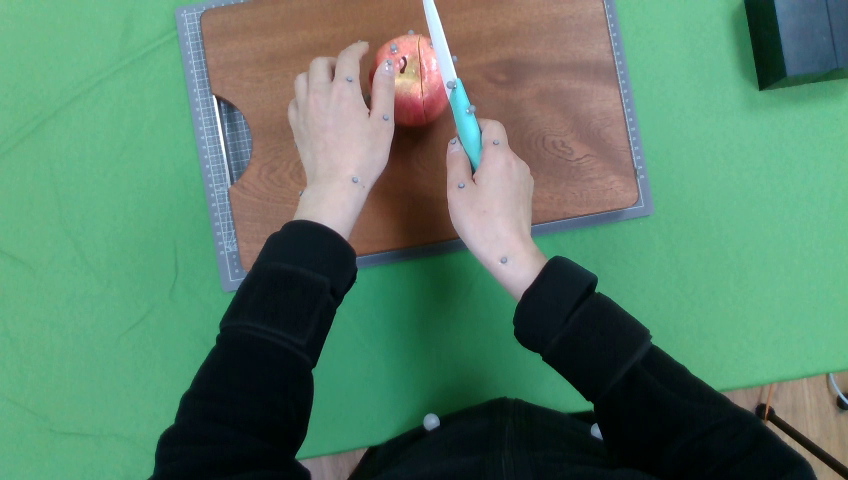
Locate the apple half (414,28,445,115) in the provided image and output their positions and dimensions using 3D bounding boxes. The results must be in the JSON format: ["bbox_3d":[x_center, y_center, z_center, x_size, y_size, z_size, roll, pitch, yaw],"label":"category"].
[{"bbox_3d":[0.010,-0.156,0.564,0.033,0.081,0.081,-5,88,3],"label":"apple half"}]

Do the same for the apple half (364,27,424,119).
[{"bbox_3d":[-0.029,-0.152,0.565,0.053,0.074,0.081,-5,92,4],"label":"apple half"}]

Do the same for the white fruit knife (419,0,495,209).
[{"bbox_3d":[0.022,-0.127,0.501,0.016,0.027,0.207,-17,90,-29],"label":"white fruit knife"}]
